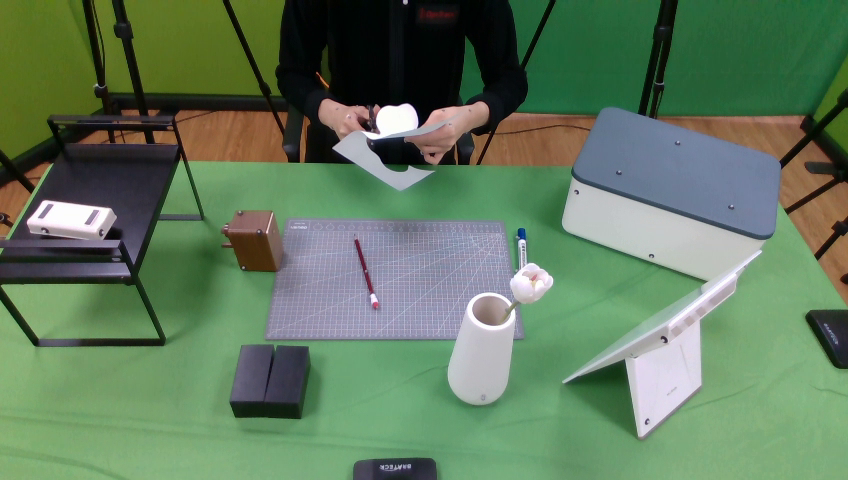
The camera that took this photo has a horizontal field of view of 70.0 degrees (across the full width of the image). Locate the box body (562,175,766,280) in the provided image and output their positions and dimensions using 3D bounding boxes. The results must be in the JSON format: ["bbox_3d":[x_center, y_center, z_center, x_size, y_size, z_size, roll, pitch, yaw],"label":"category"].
[{"bbox_3d":[0.486,-0.088,1.222,0.363,0.161,0.253,20,48,15],"label":"box body"}]

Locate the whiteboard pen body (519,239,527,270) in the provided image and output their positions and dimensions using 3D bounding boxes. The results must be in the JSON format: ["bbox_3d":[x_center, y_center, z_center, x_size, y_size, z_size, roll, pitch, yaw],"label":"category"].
[{"bbox_3d":[0.193,0.035,1.180,0.017,0.017,0.140,6,48,1],"label":"whiteboard pen body"}]

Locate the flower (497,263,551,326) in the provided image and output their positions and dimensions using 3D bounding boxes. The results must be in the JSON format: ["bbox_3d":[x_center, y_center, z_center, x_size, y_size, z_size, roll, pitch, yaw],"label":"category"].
[{"bbox_3d":[0.102,0.121,0.852,0.044,0.363,0.038,-1,64,-10],"label":"flower"}]

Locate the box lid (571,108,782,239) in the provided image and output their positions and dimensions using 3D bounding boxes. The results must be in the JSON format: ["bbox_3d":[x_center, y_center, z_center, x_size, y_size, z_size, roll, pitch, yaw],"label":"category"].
[{"bbox_3d":[0.491,-0.139,1.168,0.370,0.015,0.262,21,49,15],"label":"box lid"}]

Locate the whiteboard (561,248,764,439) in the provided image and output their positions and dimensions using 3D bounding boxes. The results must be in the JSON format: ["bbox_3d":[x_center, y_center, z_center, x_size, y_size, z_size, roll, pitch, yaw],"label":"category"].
[{"bbox_3d":[0.386,0.176,0.905,0.217,0.306,0.143,-26,72,-27],"label":"whiteboard"}]

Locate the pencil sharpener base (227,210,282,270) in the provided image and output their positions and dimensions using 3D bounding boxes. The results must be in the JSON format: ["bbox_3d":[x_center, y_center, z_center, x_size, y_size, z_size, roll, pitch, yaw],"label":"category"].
[{"bbox_3d":[-0.311,0.001,1.112,0.077,0.107,0.061,1,47,1],"label":"pencil sharpener base"}]

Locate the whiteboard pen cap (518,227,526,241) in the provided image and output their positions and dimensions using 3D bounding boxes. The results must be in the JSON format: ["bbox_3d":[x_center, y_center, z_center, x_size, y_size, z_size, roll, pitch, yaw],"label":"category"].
[{"bbox_3d":[0.197,-0.009,1.220,0.018,0.018,0.033,5,50,0],"label":"whiteboard pen cap"}]

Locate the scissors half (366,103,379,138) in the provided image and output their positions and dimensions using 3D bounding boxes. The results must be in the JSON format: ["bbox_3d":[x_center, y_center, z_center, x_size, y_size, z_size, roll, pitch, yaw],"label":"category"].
[{"bbox_3d":[-0.088,-0.203,1.045,0.013,0.040,0.174,-6,28,-8],"label":"scissors half"}]

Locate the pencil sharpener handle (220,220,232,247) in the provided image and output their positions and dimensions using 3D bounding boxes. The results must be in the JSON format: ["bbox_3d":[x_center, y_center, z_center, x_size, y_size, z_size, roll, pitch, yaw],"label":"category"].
[{"bbox_3d":[-0.362,-0.009,1.105,0.030,0.068,0.036,1,52,1],"label":"pencil sharpener handle"}]

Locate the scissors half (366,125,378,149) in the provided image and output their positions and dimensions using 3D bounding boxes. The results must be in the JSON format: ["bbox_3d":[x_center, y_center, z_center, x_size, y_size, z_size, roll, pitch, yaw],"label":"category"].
[{"bbox_3d":[-0.088,-0.182,1.051,0.013,0.040,0.175,-1,4,-9],"label":"scissors half"}]

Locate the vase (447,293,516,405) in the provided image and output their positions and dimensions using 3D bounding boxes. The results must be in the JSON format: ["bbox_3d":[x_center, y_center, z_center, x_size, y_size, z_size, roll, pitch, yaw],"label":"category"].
[{"bbox_3d":[0.091,0.169,0.921,0.098,0.201,0.097,3,47,-3],"label":"vase"}]

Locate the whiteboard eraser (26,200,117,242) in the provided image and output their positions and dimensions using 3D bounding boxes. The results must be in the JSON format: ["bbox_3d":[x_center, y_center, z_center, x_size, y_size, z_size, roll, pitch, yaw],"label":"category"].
[{"bbox_3d":[-0.532,-0.026,0.919,0.113,0.042,0.055,7,45,3],"label":"whiteboard eraser"}]

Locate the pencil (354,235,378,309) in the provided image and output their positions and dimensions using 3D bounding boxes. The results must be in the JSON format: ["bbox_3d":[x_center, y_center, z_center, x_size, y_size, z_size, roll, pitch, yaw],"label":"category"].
[{"bbox_3d":[-0.112,0.055,1.143,0.012,0.012,0.192,-10,46,-13],"label":"pencil"}]
